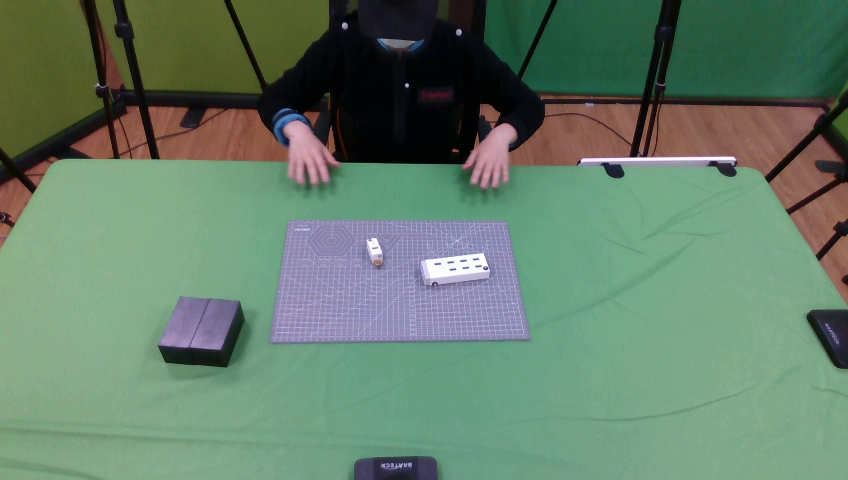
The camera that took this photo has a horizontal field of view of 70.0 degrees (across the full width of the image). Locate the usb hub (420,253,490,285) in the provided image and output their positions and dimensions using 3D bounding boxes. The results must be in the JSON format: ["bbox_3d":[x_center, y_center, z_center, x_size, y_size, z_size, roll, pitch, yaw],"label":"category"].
[{"bbox_3d":[0.059,0.055,1.142,0.125,0.025,0.049,-7,47,-10],"label":"usb hub"}]

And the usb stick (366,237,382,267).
[{"bbox_3d":[-0.093,0.025,1.159,0.021,0.027,0.059,-11,51,-15],"label":"usb stick"}]
